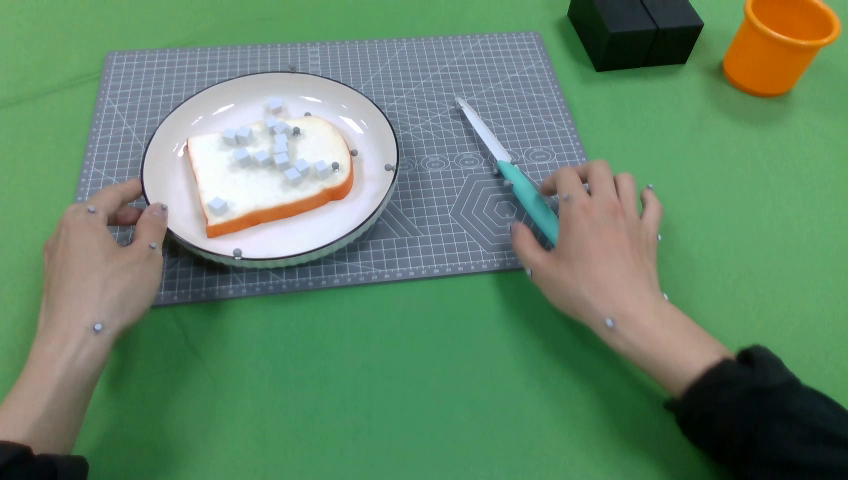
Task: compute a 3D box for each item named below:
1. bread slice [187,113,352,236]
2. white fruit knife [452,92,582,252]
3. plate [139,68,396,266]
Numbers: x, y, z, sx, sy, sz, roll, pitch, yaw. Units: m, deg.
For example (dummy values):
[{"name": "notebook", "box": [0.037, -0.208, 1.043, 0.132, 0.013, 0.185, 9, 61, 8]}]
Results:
[{"name": "bread slice", "box": [-0.130, -0.065, 0.517, 0.132, 0.019, 0.104, -19, 59, -15]}, {"name": "white fruit knife", "box": [0.075, -0.068, 0.545, 0.027, 0.016, 0.205, -1, 48, -41]}, {"name": "plate", "box": [-0.127, -0.062, 0.513, 0.209, 0.038, 0.207, 2, 56, -3]}]
